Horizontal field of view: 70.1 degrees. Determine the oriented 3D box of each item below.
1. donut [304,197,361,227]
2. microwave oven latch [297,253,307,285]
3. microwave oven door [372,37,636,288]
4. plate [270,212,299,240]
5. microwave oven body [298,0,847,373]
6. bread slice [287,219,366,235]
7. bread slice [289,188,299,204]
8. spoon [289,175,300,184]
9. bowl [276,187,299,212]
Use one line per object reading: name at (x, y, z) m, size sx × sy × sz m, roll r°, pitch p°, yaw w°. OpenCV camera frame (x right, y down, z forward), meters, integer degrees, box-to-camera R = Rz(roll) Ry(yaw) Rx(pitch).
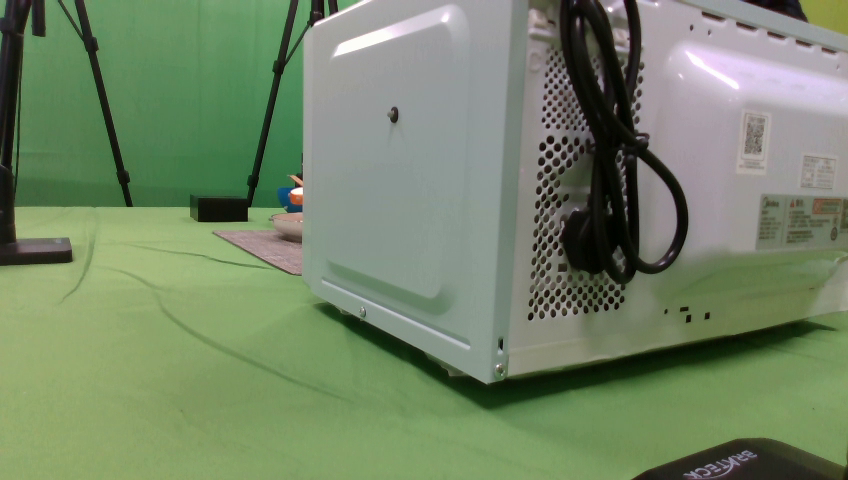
donut at (-0.160, -0.050, 1.056) m, size 0.099 × 0.048 × 0.099 m, roll 4°, pitch 8°, yaw 0°
microwave oven latch at (-0.082, 0.027, 0.583) m, size 0.079 × 0.029 × 0.030 m, roll -1°, pitch 8°, yaw -32°
microwave oven door at (0.110, -0.080, 0.686) m, size 0.358 × 0.243 × 0.039 m, roll -2°, pitch 9°, yaw -33°
plate at (-0.162, -0.022, 1.058) m, size 0.208 × 0.039 × 0.207 m, roll 2°, pitch 7°, yaw 0°
microwave oven body at (0.151, -0.055, 0.543) m, size 0.444 × 0.260 × 0.324 m, roll -1°, pitch 8°, yaw -33°
bread slice at (-0.170, -0.023, 1.056) m, size 0.134 × 0.018 × 0.107 m, roll 1°, pitch 7°, yaw -6°
bread slice at (-0.167, -0.080, 1.052) m, size 0.131 × 0.019 × 0.105 m, roll -1°, pitch 13°, yaw 0°
spoon at (-0.260, -0.110, 1.343) m, size 0.042 × 0.021 × 0.192 m, roll -7°, pitch 33°, yaw -30°
bowl at (-0.241, -0.073, 1.302) m, size 0.151 × 0.077 × 0.151 m, roll 2°, pitch 7°, yaw 0°
